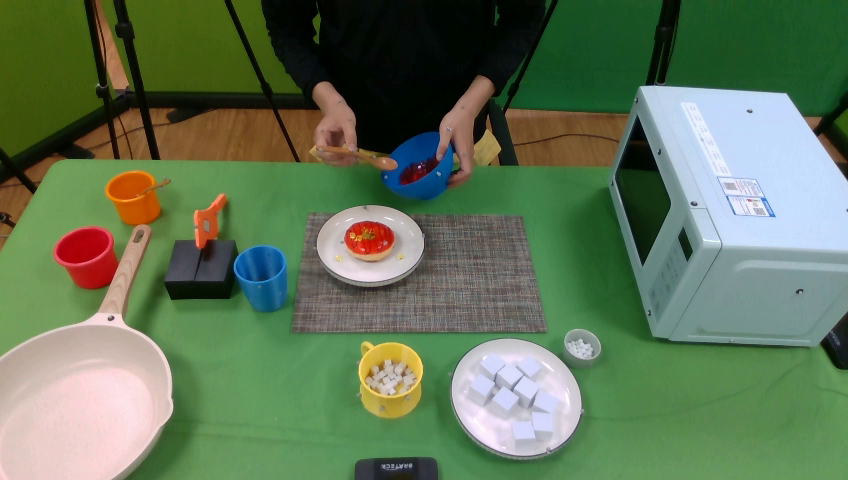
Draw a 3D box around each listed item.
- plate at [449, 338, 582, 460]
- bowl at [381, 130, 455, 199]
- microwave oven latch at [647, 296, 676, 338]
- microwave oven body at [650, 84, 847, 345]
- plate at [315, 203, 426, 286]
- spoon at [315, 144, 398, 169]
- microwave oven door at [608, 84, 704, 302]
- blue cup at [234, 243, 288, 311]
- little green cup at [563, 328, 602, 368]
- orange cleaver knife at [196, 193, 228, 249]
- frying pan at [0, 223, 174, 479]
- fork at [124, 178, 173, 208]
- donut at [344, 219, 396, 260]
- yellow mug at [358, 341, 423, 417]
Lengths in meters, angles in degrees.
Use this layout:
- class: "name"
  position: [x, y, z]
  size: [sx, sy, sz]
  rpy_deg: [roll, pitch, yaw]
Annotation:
- class: "plate"
  position: [0.141, 0.251, 0.955]
  size: [0.208, 0.039, 0.206]
  rpy_deg: [2, 46, -2]
- class: "bowl"
  position: [0.001, -0.133, 1.166]
  size: [0.151, 0.077, 0.150]
  rpy_deg: [-21, 40, 19]
- class: "microwave oven latch"
  position: [0.413, 0.133, 1.060]
  size: [0.030, 0.029, 0.078]
  rpy_deg: [4, 46, 1]
- class: "microwave oven body"
  position: [0.569, -0.054, 1.116]
  size: [0.326, 0.261, 0.439]
  rpy_deg: [2, 46, -1]
- class: "plate"
  position: [-0.101, 0.012, 1.159]
  size: [0.209, 0.038, 0.208]
  rpy_deg: [2, 46, -2]
- class: "spoon"
  position: [-0.117, -0.153, 1.082]
  size: [0.194, 0.021, 0.041]
  rpy_deg: [8, 35, -51]
- class: "microwave oven door"
  position: [0.424, -0.096, 1.138]
  size: [0.039, 0.245, 0.353]
  rpy_deg: [3, 46, -1]
- class: "blue cup"
  position: [-0.276, 0.072, 1.052]
  size: [0.093, 0.101, 0.092]
  rpy_deg: [1, 48, -1]
- class: "little green cup"
  position: [0.265, 0.184, 1.025]
  size: [0.061, 0.039, 0.061]
  rpy_deg: [1, 46, -1]
- class: "orange cleaver knife"
  position: [-0.406, -0.041, 1.163]
  size: [0.012, 0.077, 0.210]
  rpy_deg: [0, 18, -3]
- class: "frying pan"
  position: [-0.505, 0.169, 0.941]
  size: [0.307, 0.103, 0.485]
  rpy_deg: [5, 54, -1]
- class: "fork"
  position: [-0.525, -0.090, 1.153]
  size: [0.207, 0.019, 0.028]
  rpy_deg: [-18, 27, 45]
- class: "donut"
  position: [-0.103, -0.002, 1.157]
  size: [0.099, 0.048, 0.098]
  rpy_deg: [3, 43, -2]
- class: "yellow mug"
  position: [-0.062, 0.210, 0.961]
  size: [0.100, 0.064, 0.130]
  rpy_deg: [-29, 54, -27]
